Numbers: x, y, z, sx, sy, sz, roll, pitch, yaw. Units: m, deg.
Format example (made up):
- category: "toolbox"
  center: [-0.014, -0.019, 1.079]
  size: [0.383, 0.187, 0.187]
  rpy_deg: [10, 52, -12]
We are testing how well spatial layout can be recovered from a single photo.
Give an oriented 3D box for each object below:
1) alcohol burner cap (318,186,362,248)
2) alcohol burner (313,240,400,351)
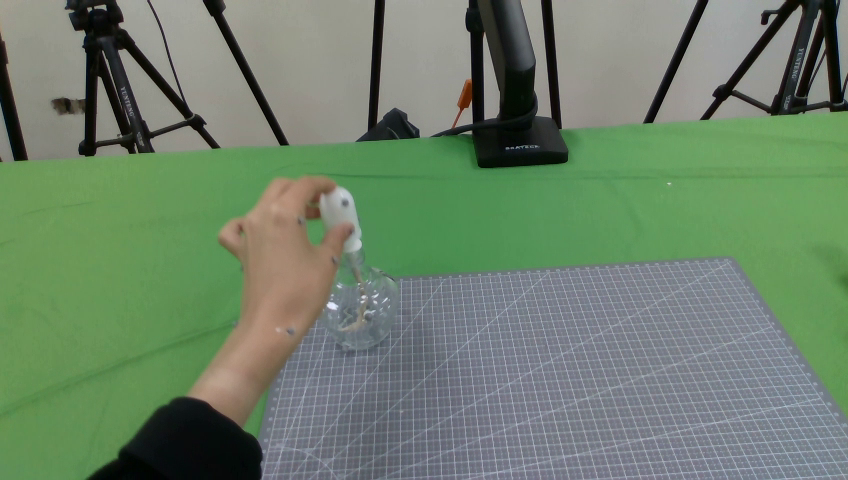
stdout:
- category: "alcohol burner cap"
  center: [-0.068, -0.021, 0.481]
  size: [0.034, 0.048, 0.033]
  rpy_deg: [-1, 40, 1]
- category: "alcohol burner"
  center: [-0.060, 0.039, 0.527]
  size: [0.078, 0.120, 0.077]
  rpy_deg: [-1, 38, 1]
